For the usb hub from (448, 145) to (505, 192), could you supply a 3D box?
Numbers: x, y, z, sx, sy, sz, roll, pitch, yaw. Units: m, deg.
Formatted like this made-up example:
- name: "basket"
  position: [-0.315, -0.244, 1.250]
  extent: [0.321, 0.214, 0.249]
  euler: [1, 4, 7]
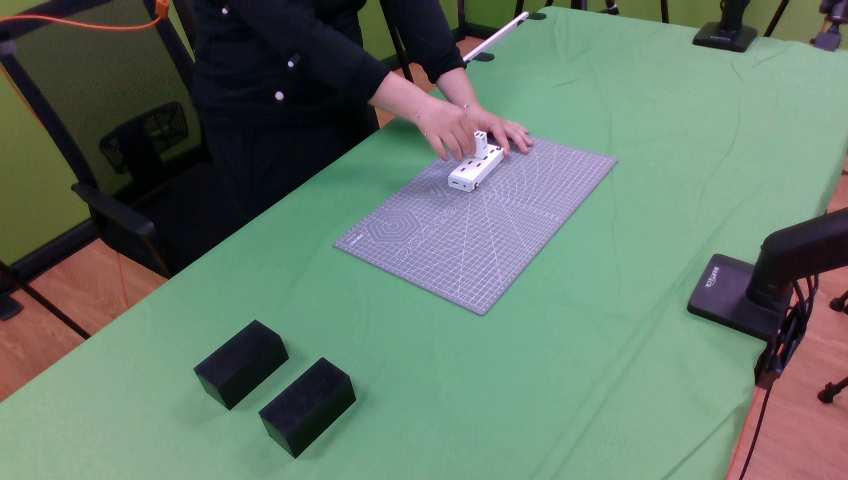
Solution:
- name: "usb hub"
  position: [0.097, -0.133, 1.105]
  extent: [0.049, 0.025, 0.125]
  euler: [21, 48, 28]

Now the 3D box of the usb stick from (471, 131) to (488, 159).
- name: "usb stick"
  position: [0.101, -0.166, 1.099]
  extent: [0.027, 0.059, 0.021]
  euler: [20, 46, 27]
